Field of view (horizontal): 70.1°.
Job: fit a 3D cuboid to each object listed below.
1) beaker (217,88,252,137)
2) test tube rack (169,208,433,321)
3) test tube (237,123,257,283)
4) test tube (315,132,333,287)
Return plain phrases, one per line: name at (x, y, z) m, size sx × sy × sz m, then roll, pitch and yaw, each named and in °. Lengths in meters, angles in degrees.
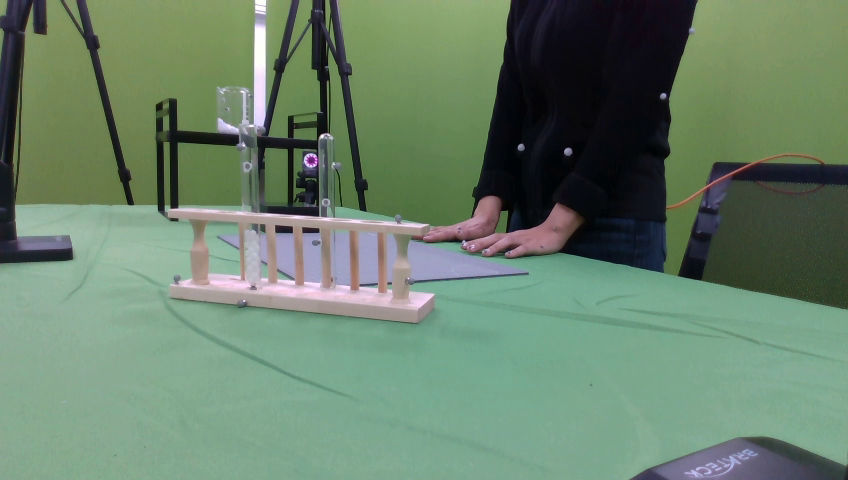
beaker at (-0.412, -0.276, 1.310) m, size 0.074 × 0.100 × 0.084 m, roll 4°, pitch 8°, yaw 16°
test tube rack at (-0.115, 0.018, 0.574) m, size 0.242 × 0.085 × 0.067 m, roll 4°, pitch 8°, yaw 13°
test tube at (-0.163, -0.032, 0.560) m, size 0.017 × 0.150 × 0.017 m, roll 3°, pitch 13°, yaw 0°
test tube at (-0.096, -0.028, 0.583) m, size 0.017 × 0.150 × 0.017 m, roll 0°, pitch 9°, yaw 0°
